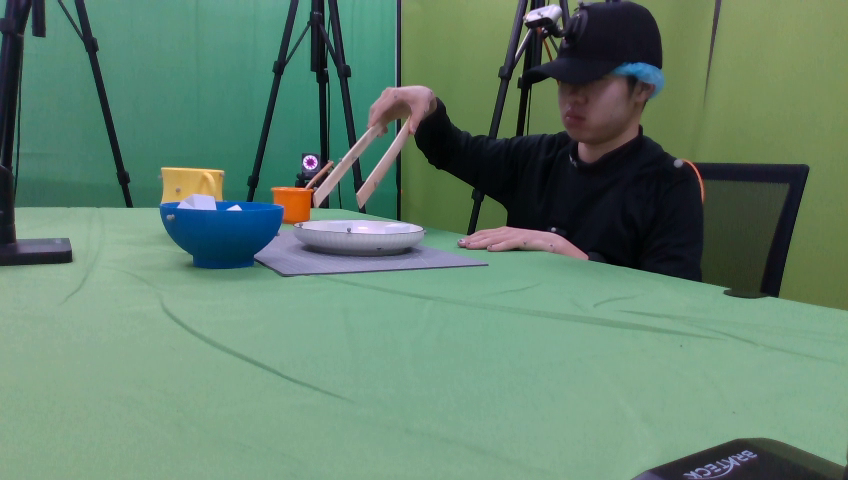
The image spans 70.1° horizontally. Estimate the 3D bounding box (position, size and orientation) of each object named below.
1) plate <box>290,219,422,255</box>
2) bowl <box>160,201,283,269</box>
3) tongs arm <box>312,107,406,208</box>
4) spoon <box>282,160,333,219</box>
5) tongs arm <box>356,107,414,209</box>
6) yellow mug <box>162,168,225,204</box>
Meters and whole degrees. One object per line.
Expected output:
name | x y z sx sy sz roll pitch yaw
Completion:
plate | -0.108 -0.005 0.963 0.208 0.039 0.207 3 7 0
bowl | -0.260 -0.006 0.783 0.151 0.077 0.151 2 8 0
tongs arm | -0.104 -0.159 1.073 0.050 0.026 0.385 1 32 15
spoon | -0.262 -0.115 1.359 0.041 0.194 0.022 12 -33 39
tongs arm | -0.063 -0.157 1.062 0.028 0.028 0.387 -3 31 15
yellow mug | -0.383 -0.087 1.026 0.130 0.064 0.100 11 11 44
